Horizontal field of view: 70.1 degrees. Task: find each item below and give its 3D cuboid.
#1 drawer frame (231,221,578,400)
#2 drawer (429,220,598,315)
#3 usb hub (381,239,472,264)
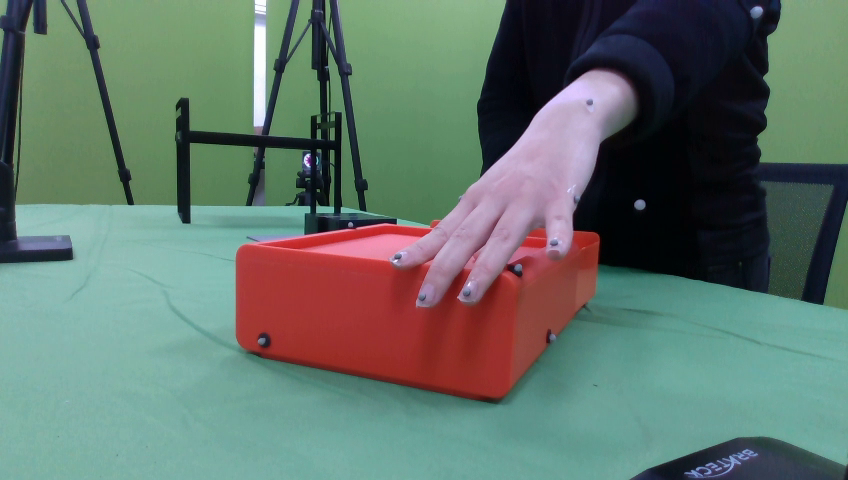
[{"bbox_3d":[0.001,0.037,0.474,0.201,0.082,0.214,5,9,22],"label":"drawer frame"},{"bbox_3d":[0.047,0.029,0.576,0.194,0.073,0.212,7,9,25],"label":"drawer"},{"bbox_3d":[0.005,0.015,0.852,0.126,0.025,0.049,-3,9,-36],"label":"usb hub"}]
